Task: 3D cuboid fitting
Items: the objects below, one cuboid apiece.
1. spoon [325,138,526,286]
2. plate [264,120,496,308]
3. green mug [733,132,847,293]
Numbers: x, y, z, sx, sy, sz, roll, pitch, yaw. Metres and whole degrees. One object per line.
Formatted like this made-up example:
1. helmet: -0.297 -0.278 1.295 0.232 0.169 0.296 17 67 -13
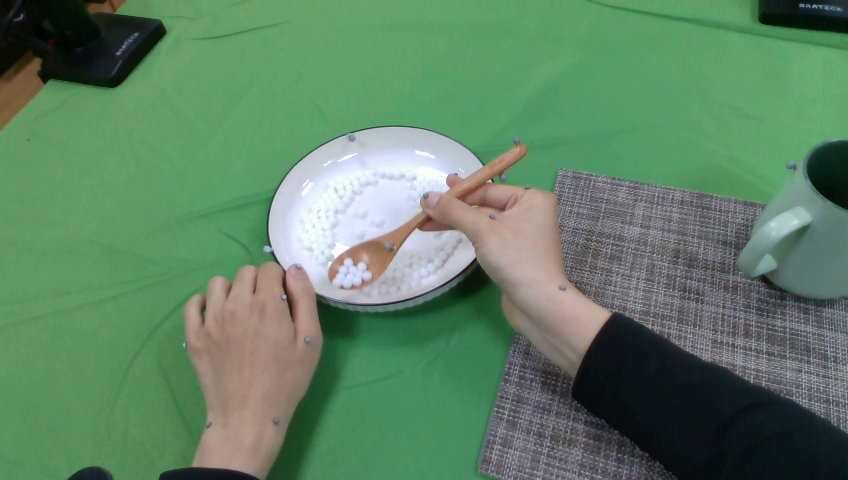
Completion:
1. spoon: 0.002 -0.024 0.490 0.194 0.022 0.041 -36 60 8
2. plate: -0.038 -0.025 0.553 0.209 0.038 0.207 -2 54 4
3. green mug: 0.296 -0.012 0.466 0.125 0.106 0.091 -23 56 -10
